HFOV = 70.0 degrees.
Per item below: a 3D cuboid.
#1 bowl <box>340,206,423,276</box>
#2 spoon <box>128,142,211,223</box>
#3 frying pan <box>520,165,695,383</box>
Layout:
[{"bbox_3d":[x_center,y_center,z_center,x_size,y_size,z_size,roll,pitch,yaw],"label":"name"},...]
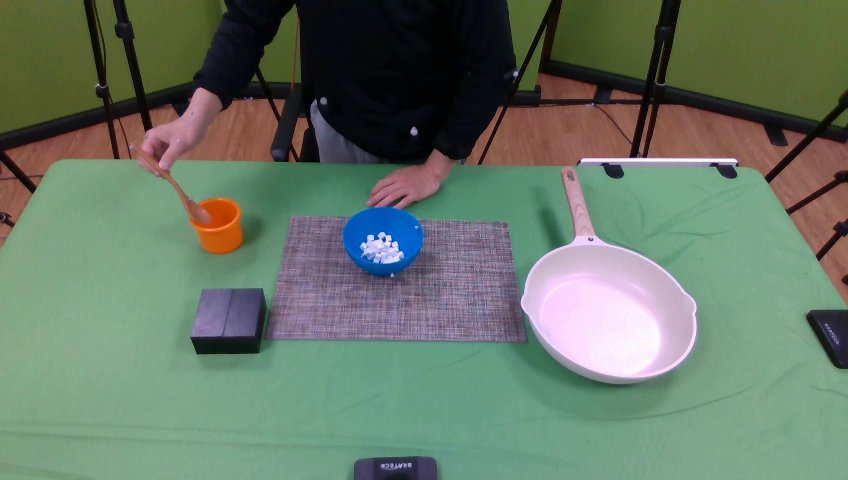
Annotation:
[{"bbox_3d":[-0.079,0.014,1.133,0.151,0.077,0.150,2,46,-2],"label":"bowl"},{"bbox_3d":[-0.439,-0.099,1.054,0.021,0.195,0.041,-20,39,13],"label":"spoon"},{"bbox_3d":[0.312,0.044,1.123,0.307,0.103,0.484,1,55,-5],"label":"frying pan"}]
